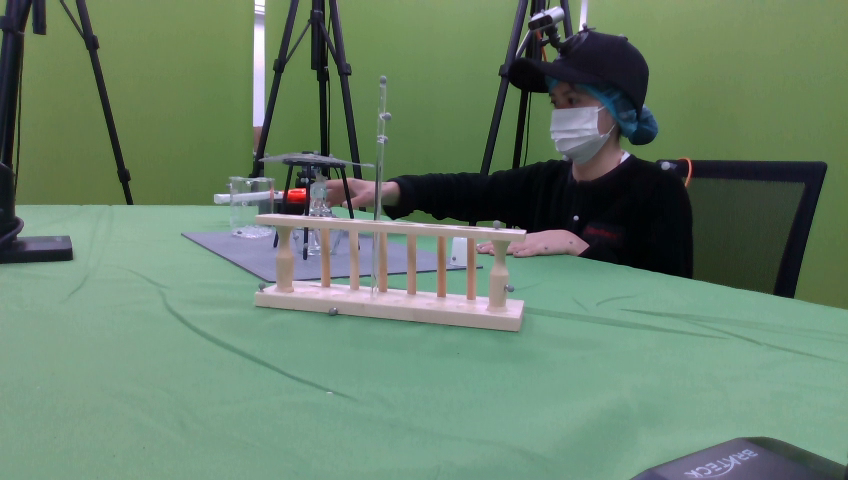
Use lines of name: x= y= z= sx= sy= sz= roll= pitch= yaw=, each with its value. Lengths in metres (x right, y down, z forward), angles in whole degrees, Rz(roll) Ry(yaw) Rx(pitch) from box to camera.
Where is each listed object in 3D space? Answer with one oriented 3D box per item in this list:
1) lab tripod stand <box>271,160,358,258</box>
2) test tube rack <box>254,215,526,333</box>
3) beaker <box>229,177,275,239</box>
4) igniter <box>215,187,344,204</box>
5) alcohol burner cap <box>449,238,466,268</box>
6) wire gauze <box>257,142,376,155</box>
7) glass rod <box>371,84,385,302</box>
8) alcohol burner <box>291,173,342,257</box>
lab tripod stand: x=-0.159 y=-0.048 z=0.876 sx=0.148 sy=0.131 sz=0.148 roll=3 pitch=5 yaw=0
test tube rack: x=-0.030 y=0.025 z=0.558 sx=0.242 sy=0.085 sz=0.067 roll=4 pitch=7 yaw=12
beaker: x=-0.292 y=-0.056 z=1.023 sx=0.074 sy=0.100 sz=0.083 roll=-1 pitch=8 yaw=-26
igniter: x=-0.290 y=-0.093 z=1.256 sx=0.278 sy=0.025 sz=0.057 roll=-6 pitch=11 yaw=-34
alcohol burner cap: x=0.051 y=0.014 z=0.827 sx=0.034 sy=0.048 sz=0.034 roll=2 pitch=6 yaw=0
wire gauze: x=-0.155 y=-0.130 z=0.871 sx=0.124 sy=0.011 sz=0.122 roll=-1 pitch=7 yaw=36
glass rod: x=-0.041 y=-0.040 z=0.548 sx=0.008 sy=0.199 sz=0.008 roll=2 pitch=2 yaw=0
alcohol burner: x=-0.155 y=-0.037 z=0.870 sx=0.078 sy=0.119 sz=0.078 roll=1 pitch=6 yaw=0
